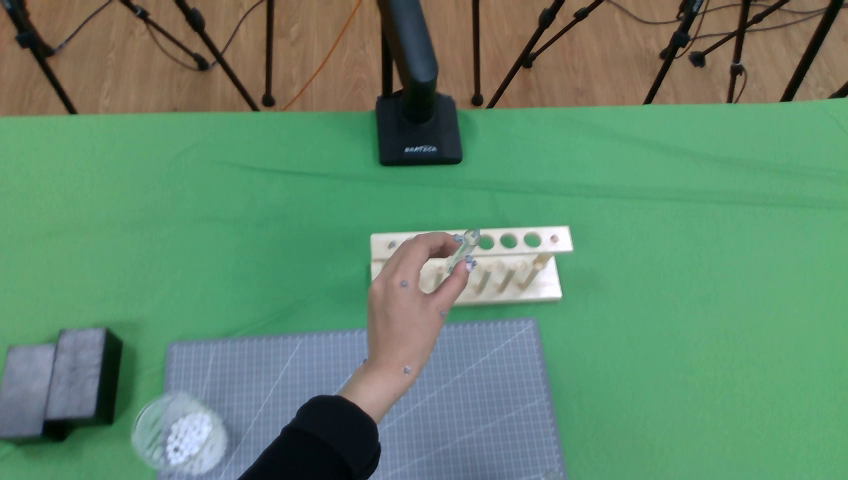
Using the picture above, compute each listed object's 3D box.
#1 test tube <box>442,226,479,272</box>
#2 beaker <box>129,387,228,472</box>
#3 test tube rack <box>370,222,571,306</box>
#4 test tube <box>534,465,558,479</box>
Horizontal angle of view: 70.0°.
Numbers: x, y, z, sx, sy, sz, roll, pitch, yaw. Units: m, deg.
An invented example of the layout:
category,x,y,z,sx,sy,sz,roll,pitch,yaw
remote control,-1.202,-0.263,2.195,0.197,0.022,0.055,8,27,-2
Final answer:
category,x,y,z,sx,sy,sz,roll,pitch,yaw
test tube,0.033,0.012,0.574,0.017,0.150,0.017,1,77,-4
beaker,-0.246,0.200,0.630,0.084,0.101,0.073,-10,65,-10
test tube rack,0.055,0.031,0.753,0.243,0.086,0.066,-2,64,-6
test tube,0.100,0.236,0.554,0.017,0.152,0.017,1,52,-1
